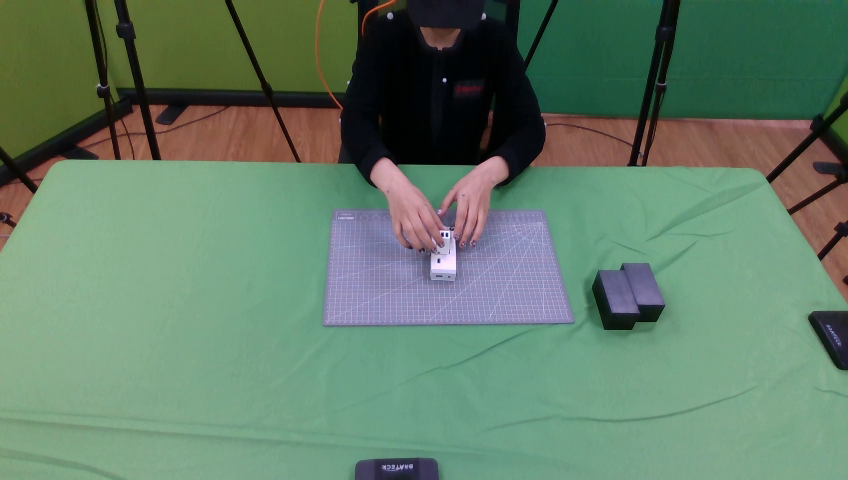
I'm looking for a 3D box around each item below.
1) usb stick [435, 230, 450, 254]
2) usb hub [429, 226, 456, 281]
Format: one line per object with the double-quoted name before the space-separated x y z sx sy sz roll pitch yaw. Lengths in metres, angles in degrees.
"usb stick" 0.034 0.009 1.146 0.027 0.059 0.021 3 46 -4
"usb hub" 0.036 0.024 1.173 0.049 0.025 0.124 3 47 -1
